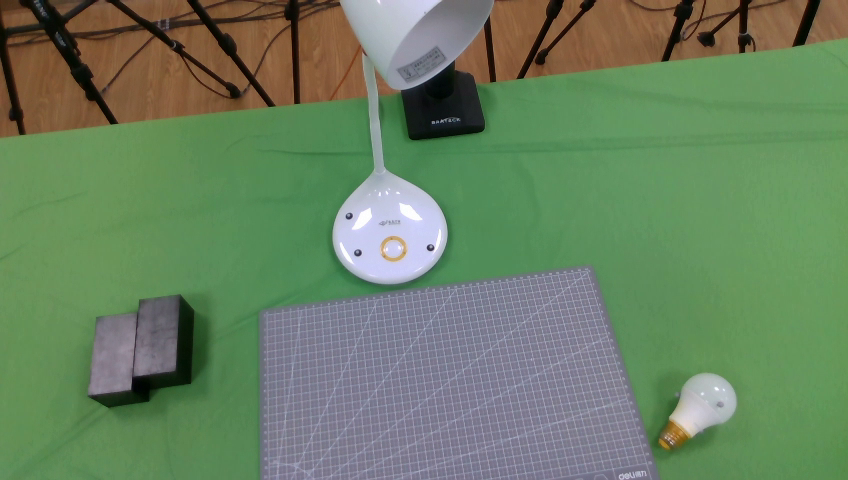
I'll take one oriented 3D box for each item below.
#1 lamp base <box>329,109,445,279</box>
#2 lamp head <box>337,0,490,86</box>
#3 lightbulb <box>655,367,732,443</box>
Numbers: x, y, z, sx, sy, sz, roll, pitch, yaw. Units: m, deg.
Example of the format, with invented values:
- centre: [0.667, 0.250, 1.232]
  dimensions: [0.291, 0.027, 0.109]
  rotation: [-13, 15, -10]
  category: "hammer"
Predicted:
- centre: [-0.057, -0.065, 0.779]
  dimensions: [0.161, 0.182, 0.177]
  rotation: [-15, 59, -8]
  category: "lamp base"
- centre: [-0.024, -0.205, 0.494]
  dimensions: [0.112, 0.113, 0.122]
  rotation: [-37, 76, -18]
  category: "lamp head"
- centre: [0.312, 0.196, 0.709]
  dimensions: [0.107, 0.060, 0.059]
  rotation: [-44, 68, -4]
  category: "lightbulb"
